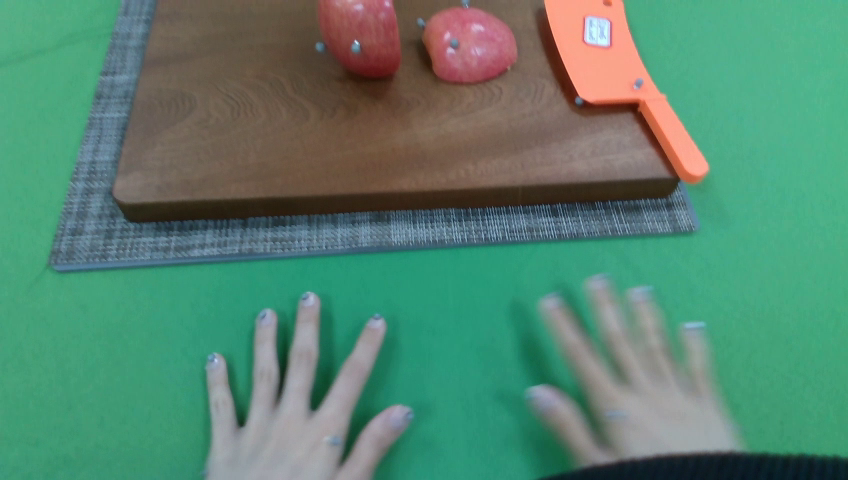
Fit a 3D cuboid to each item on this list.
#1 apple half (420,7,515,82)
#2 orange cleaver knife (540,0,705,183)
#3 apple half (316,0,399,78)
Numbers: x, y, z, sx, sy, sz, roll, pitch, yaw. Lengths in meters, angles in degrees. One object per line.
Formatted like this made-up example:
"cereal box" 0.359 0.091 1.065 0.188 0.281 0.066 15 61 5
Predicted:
"apple half" 0.035 -0.165 0.483 0.081 0.033 0.080 0 58 0
"orange cleaver knife" 0.148 -0.128 0.473 0.077 0.012 0.209 -9 60 -11
"apple half" -0.053 -0.162 0.453 0.053 0.075 0.080 -15 63 -7
